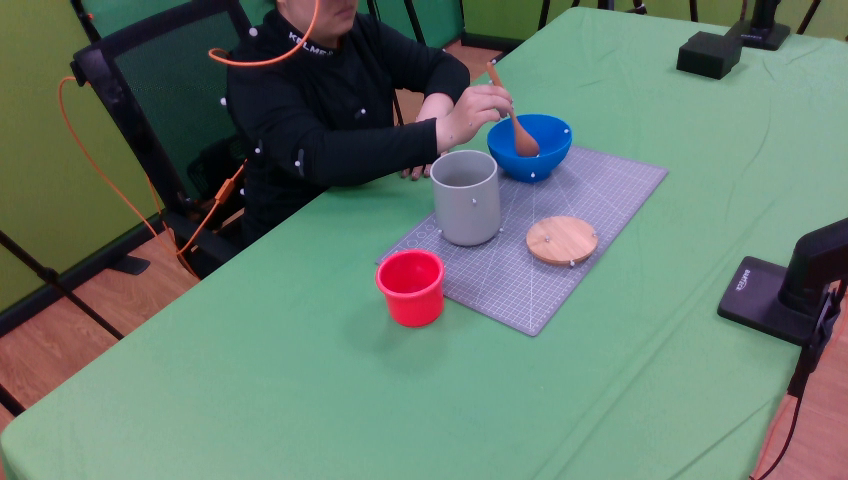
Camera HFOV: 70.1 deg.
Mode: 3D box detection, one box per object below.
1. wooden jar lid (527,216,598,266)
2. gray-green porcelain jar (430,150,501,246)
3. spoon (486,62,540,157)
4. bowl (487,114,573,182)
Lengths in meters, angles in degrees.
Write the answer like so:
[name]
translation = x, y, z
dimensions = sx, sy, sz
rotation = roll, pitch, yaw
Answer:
[wooden jar lid]
translation = 0.215, 0.003, 0.937
dimensions = 0.108, 0.021, 0.108
rotation = -4, 40, 4
[gray-green porcelain jar]
translation = 0.069, -0.062, 0.959
dimensions = 0.106, 0.127, 0.105
rotation = -5, 40, 5
[spoon]
translation = 0.147, -0.214, 1.023
dimensions = 0.041, 0.195, 0.021
rotation = -18, 29, 25
[bowl]
translation = 0.190, -0.156, 1.085
dimensions = 0.151, 0.077, 0.150
rotation = -5, 40, 5
